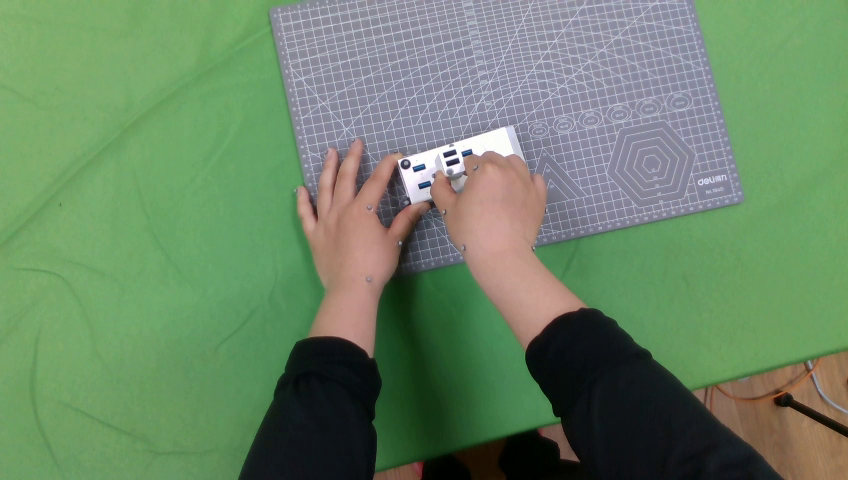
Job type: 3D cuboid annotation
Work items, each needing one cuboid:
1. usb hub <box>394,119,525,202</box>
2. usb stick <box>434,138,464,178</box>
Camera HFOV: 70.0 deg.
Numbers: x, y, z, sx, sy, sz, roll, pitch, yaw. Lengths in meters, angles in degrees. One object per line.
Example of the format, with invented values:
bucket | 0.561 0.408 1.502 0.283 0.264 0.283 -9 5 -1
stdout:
usb hub | 0.035 -0.082 0.617 0.125 0.025 0.049 -18 86 -5
usb stick | 0.023 -0.076 0.580 0.021 0.059 0.027 -22 83 -2
